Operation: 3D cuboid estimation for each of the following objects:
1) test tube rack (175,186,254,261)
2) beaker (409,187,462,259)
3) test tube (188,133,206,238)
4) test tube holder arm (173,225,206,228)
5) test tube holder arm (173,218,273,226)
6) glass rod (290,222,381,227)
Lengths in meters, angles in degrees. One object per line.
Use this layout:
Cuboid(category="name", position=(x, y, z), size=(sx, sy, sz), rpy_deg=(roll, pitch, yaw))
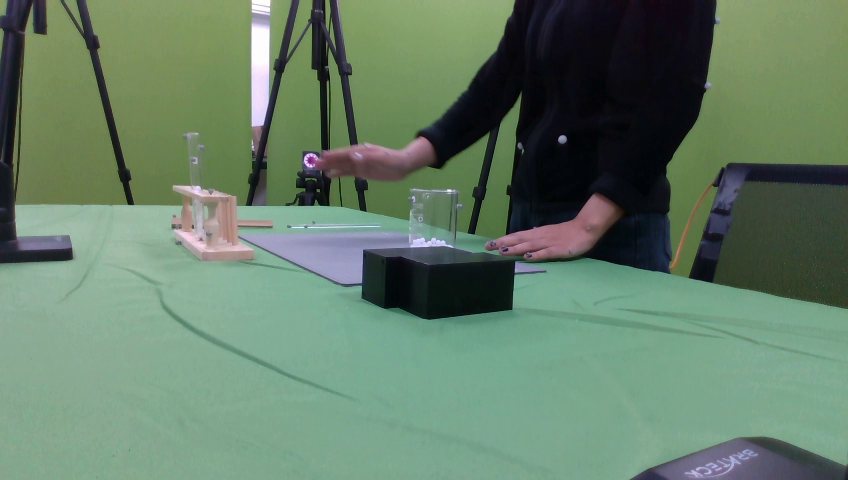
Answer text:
Cuboid(category="test tube rack", position=(-0.314, -0.031, 0.889), size=(0.067, 0.085, 0.241), rpy_deg=(-2, 8, -30))
Cuboid(category="beaker", position=(0.013, -0.027, 0.884), size=(0.074, 0.100, 0.083), rpy_deg=(0, 7, -23))
Cuboid(category="test tube", position=(-0.323, -0.077, 0.863), size=(0.017, 0.150, 0.017), rpy_deg=(-2, 6, 1))
Cuboid(category="test tube holder arm", position=(-0.414, -0.030, 1.113), size=(0.088, 0.015, 0.010), rpy_deg=(-1, -21, -25))
Cuboid(category="test tube holder arm", position=(-0.371, -0.033, 1.128), size=(0.179, 0.015, 0.013), rpy_deg=(-1, -21, -25))
Cuboid(category="glass rod", position=(-0.178, -0.033, 1.247), size=(0.201, 0.008, 0.008), rpy_deg=(-2, 8, -30))
